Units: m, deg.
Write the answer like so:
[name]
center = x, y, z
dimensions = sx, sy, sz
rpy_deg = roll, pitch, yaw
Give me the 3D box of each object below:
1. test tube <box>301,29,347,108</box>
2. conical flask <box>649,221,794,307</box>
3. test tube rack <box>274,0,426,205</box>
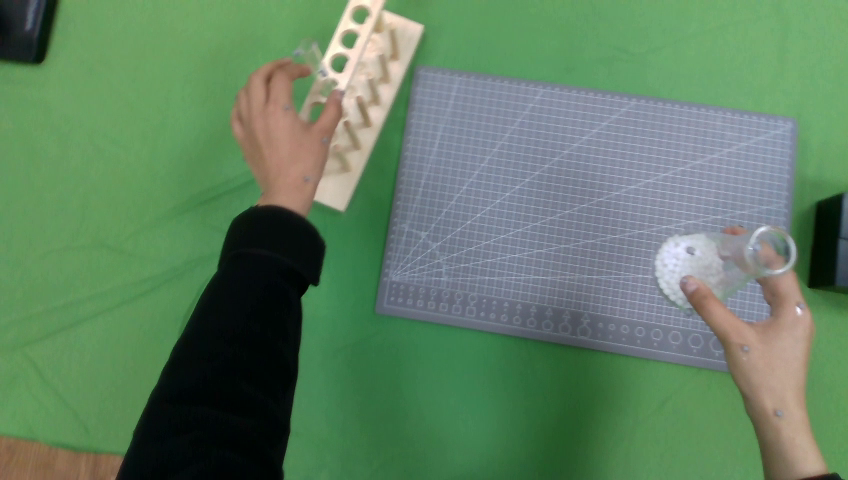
[test tube]
center = -0.100, -0.172, 0.625
dimensions = 0.017, 0.151, 0.017
rpy_deg = -1, 79, 3
[conical flask]
center = 0.244, 0.014, 0.493
dimensions = 0.075, 0.122, 0.075
rpy_deg = 1, 81, -6
[test tube rack]
center = -0.076, -0.168, 0.674
dimensions = 0.067, 0.085, 0.242
rpy_deg = 24, 84, 3
